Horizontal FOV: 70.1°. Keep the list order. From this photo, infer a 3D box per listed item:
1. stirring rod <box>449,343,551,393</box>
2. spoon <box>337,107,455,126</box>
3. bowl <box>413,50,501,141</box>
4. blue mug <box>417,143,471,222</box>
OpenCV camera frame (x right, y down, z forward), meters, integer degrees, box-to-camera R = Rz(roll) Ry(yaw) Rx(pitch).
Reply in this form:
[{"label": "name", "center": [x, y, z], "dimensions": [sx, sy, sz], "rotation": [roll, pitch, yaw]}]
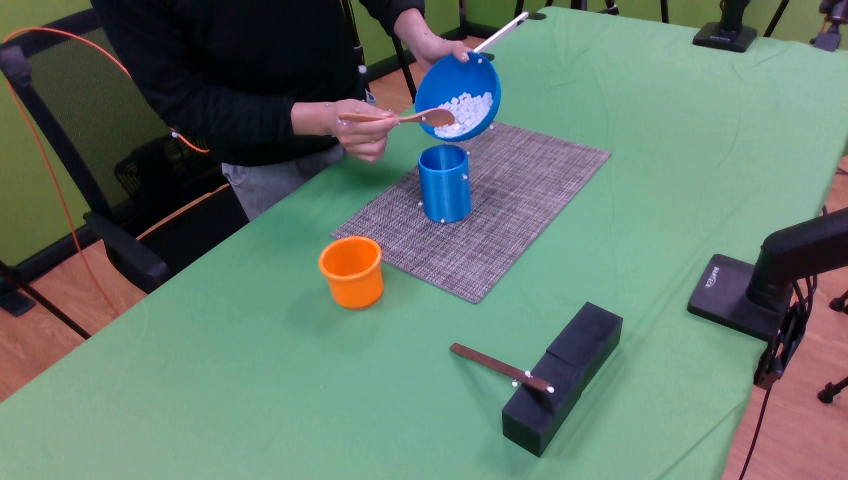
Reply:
[{"label": "stirring rod", "center": [0.088, 0.154, 0.741], "dimensions": [0.014, 0.006, 0.174], "rotation": [-39, 28, -25]}, {"label": "spoon", "center": [-0.040, -0.191, 0.940], "dimensions": [0.195, 0.041, 0.021], "rotation": [-7, 64, -28]}, {"label": "bowl", "center": [0.066, -0.225, 0.995], "dimensions": [0.150, 0.077, 0.151], "rotation": [-7, 74, 26]}, {"label": "blue mug", "center": [0.031, -0.105, 1.014], "dimensions": [0.082, 0.106, 0.115], "rotation": [-14, 41, -7]}]
